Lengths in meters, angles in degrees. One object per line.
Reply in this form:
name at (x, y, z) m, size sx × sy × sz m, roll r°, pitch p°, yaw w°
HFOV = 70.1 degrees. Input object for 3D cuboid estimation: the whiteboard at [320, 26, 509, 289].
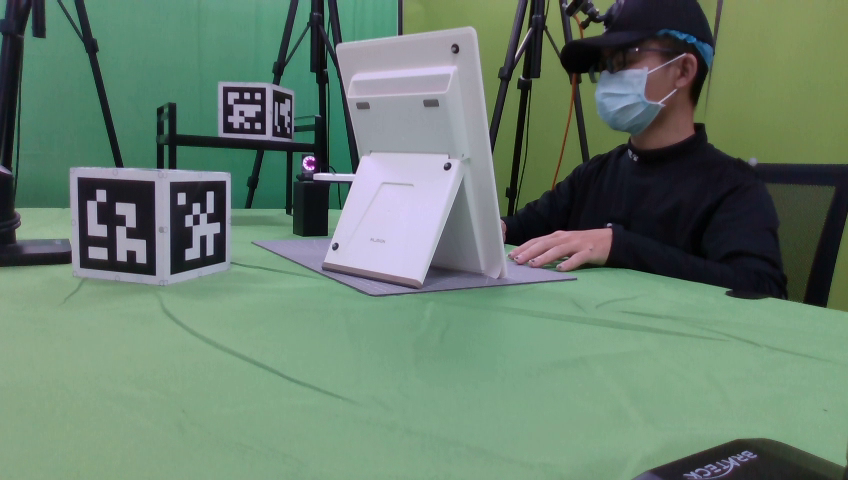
whiteboard at (-0.045, -0.076, 0.721) m, size 0.216 × 0.305 × 0.144 m, roll 9°, pitch 29°, yaw 39°

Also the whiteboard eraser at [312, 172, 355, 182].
whiteboard eraser at (-0.165, -0.121, 1.155) m, size 0.102 × 0.019 × 0.041 m, roll -2°, pitch 7°, yaw -34°
